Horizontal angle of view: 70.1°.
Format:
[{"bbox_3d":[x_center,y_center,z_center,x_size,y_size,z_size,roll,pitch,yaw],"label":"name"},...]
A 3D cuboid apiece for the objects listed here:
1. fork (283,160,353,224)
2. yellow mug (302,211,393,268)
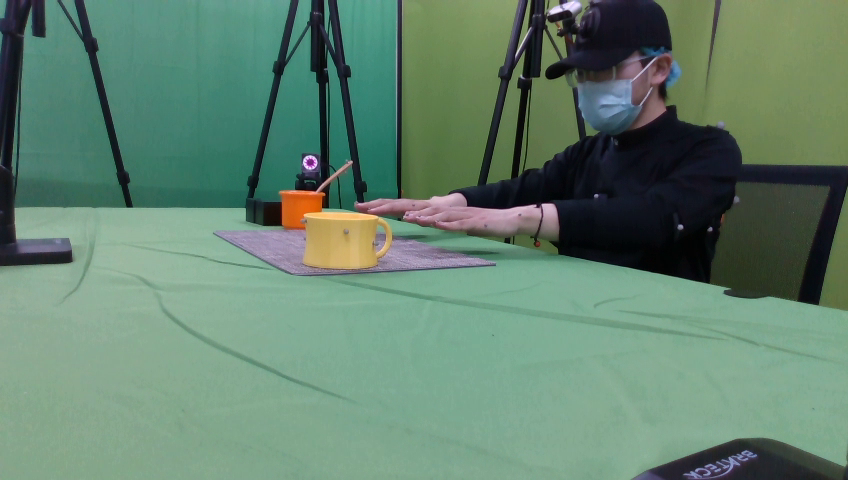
[{"bbox_3d":[-0.214,-0.100,1.245,0.028,0.019,0.207,0,46,53],"label":"fork"},{"bbox_3d":[-0.098,-0.003,0.810,0.131,0.064,0.099,-2,8,-37],"label":"yellow mug"}]
